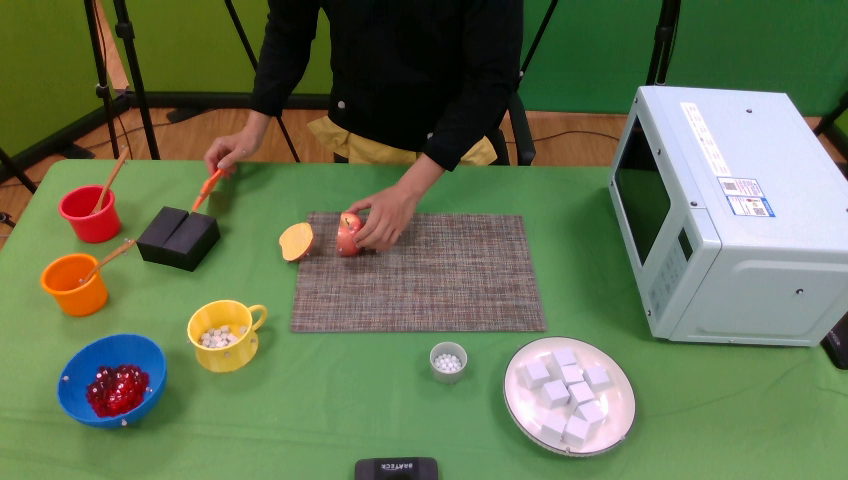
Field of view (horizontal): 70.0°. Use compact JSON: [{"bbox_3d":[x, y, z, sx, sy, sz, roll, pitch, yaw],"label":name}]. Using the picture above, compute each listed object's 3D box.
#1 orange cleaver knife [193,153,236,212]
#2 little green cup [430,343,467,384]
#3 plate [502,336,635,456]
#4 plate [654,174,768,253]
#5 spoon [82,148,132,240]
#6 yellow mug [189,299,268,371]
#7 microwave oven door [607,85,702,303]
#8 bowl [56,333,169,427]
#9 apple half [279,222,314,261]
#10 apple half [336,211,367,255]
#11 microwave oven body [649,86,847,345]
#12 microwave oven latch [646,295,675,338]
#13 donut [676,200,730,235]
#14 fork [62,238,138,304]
[{"bbox_3d":[-0.429,-0.120,1.245,0.012,0.077,0.210,29,24,-14],"label":"orange cleaver knife"},{"bbox_3d":[0.039,0.203,0.994,0.061,0.039,0.061,2,46,-2],"label":"little green cup"},{"bbox_3d":[0.225,0.248,0.964,0.208,0.039,0.206,2,46,-2],"label":"plate"},{"bbox_3d":[0.555,-0.049,1.187,0.209,0.038,0.208,1,47,-1],"label":"plate"},{"bbox_3d":[-0.602,-0.089,1.156,0.041,0.022,0.194,28,95,22],"label":"spoon"},{"bbox_3d":[-0.316,0.148,1.002,0.131,0.064,0.099,-33,56,-31],"label":"yellow mug"},{"bbox_3d":[0.423,-0.094,1.140,0.039,0.245,0.353,2,46,-1],"label":"microwave oven door"},{"bbox_3d":[-0.456,0.222,0.911,0.151,0.077,0.150,3,46,-2],"label":"bowl"},{"bbox_3d":[-0.237,0.007,1.158,0.081,0.033,0.081,-14,58,23],"label":"apple half"},{"bbox_3d":[-0.136,-0.010,1.157,0.053,0.075,0.080,6,42,-3],"label":"apple half"},{"bbox_3d":[0.568,-0.053,1.118,0.326,0.261,0.439,2,45,-1],"label":"microwave oven body"},{"bbox_3d":[0.412,0.134,1.061,0.030,0.029,0.078,3,45,1],"label":"microwave oven latch"},{"bbox_3d":[0.538,-0.045,1.170,0.099,0.048,0.098,4,31,-2],"label":"donut"},{"bbox_3d":[-0.547,0.053,1.018,0.207,0.019,0.028,-36,41,23],"label":"fork"}]
